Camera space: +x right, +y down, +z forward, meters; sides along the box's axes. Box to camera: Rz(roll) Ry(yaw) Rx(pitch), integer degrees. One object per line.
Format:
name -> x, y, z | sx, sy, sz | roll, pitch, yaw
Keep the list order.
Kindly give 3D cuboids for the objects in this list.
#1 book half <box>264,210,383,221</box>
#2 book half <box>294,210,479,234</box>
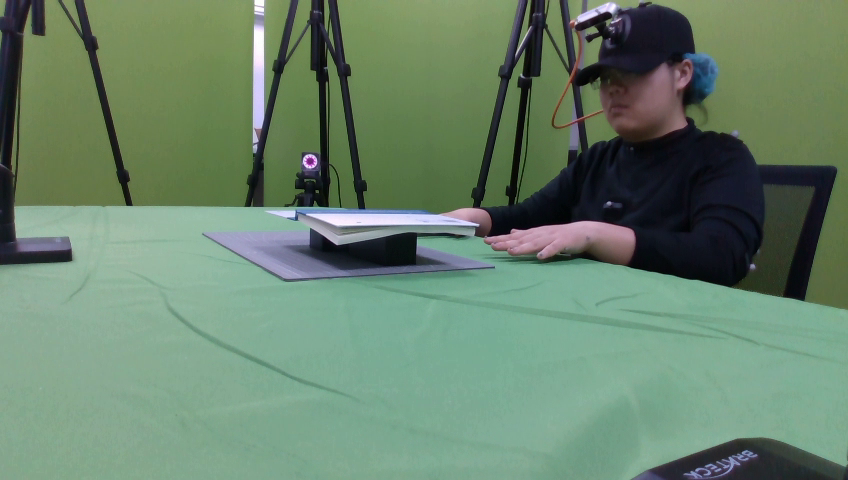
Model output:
book half -> -0.125, -0.038, 0.944 | 0.211, 0.007, 0.142 | -2, 8, -32
book half -> -0.051, -0.025, 0.823 | 0.211, 0.016, 0.148 | -1, 9, -32
